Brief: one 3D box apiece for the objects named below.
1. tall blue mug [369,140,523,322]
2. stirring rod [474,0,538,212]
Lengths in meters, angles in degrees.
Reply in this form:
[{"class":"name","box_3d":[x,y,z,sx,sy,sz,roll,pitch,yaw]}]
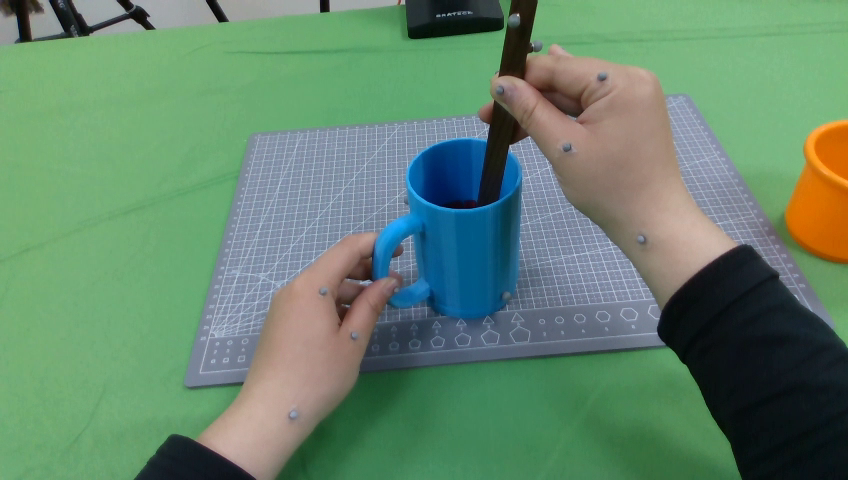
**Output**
[{"class":"tall blue mug","box_3d":[0.021,0.006,0.419,0.077,0.109,0.107,19,50,22]},{"class":"stirring rod","box_3d":[0.045,-0.070,0.348,0.014,0.177,0.006,12,41,7]}]
